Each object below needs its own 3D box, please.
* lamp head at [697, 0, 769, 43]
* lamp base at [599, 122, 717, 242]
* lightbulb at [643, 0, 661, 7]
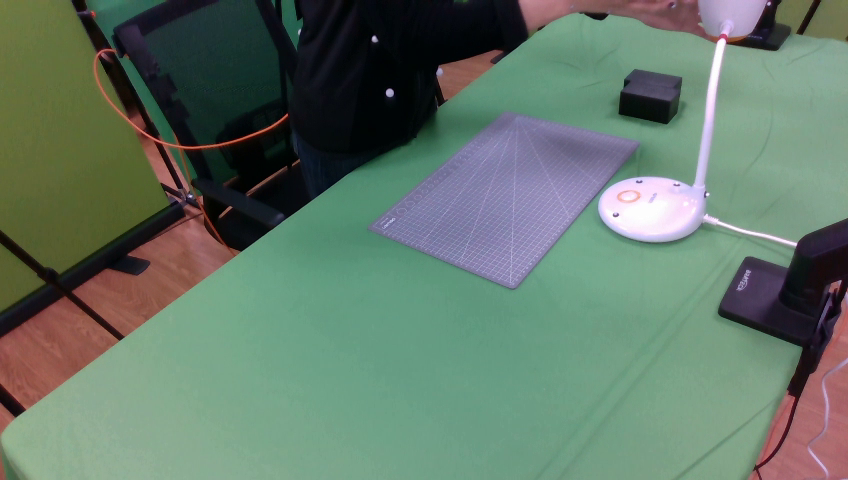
[{"bbox_3d":[0.469,-0.364,0.918,0.112,0.123,0.112,-7,33,5],"label":"lamp head"},{"bbox_3d":[0.367,-0.108,0.919,0.178,0.181,0.160,12,44,20],"label":"lamp base"},{"bbox_3d":[0.333,-0.372,0.849,0.059,0.108,0.059,-1,65,3],"label":"lightbulb"}]
